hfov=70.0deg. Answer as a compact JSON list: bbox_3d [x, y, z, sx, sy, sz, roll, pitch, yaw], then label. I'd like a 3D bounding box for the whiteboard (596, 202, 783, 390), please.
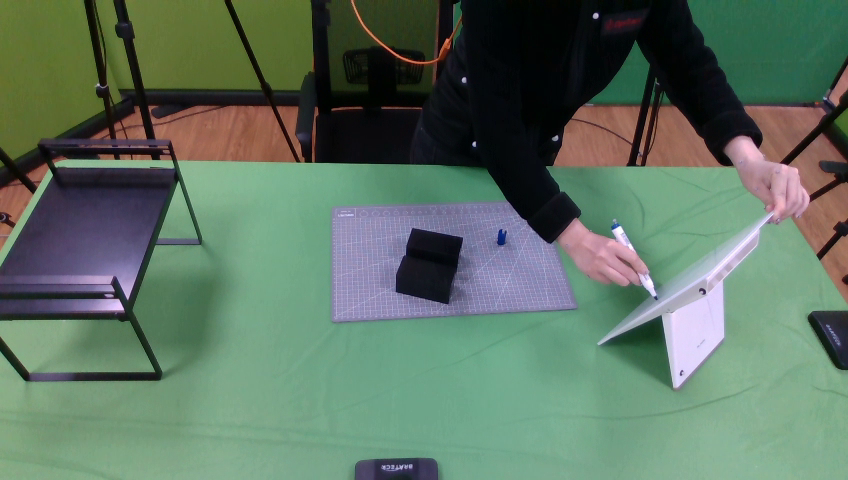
[{"bbox_3d":[0.460,0.112,0.967,0.217,0.306,0.143,-31,74,-29],"label":"whiteboard"}]

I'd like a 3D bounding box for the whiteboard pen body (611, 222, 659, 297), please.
[{"bbox_3d":[0.344,0.034,0.980,0.017,0.017,0.140,-30,89,-28],"label":"whiteboard pen body"}]

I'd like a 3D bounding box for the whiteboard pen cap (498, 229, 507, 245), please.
[{"bbox_3d":[0.155,-0.005,1.202,0.018,0.033,0.018,1,44,0],"label":"whiteboard pen cap"}]
